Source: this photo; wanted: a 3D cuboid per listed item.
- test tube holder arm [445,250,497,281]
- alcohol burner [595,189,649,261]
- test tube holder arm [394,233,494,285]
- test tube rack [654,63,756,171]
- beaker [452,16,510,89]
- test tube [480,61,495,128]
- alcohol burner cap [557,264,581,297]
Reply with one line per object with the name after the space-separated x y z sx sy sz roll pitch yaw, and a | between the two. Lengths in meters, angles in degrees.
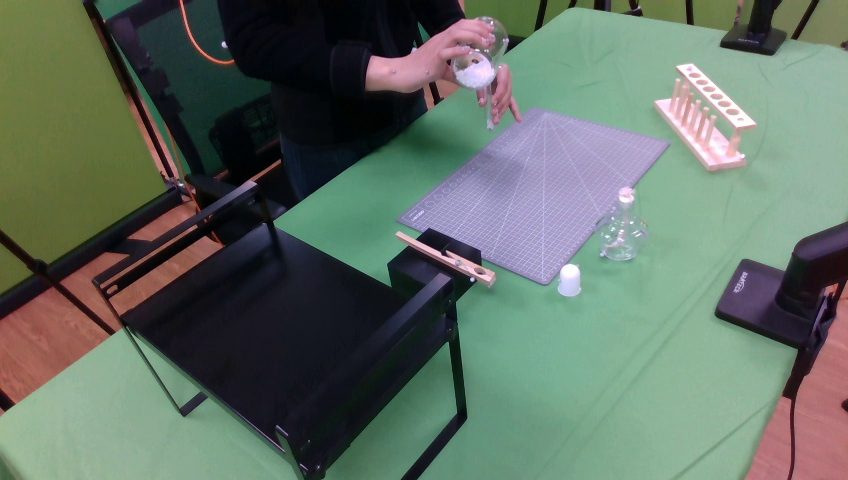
0.063 0.036 0.851 0.087 0.015 0.010 24 58 32 | test tube holder arm
0.294 -0.028 0.894 0.078 0.119 0.077 -4 43 5 | alcohol burner
0.025 0.025 0.871 0.177 0.015 0.013 23 57 31 | test tube holder arm
0.510 -0.233 1.120 0.067 0.085 0.241 -8 41 -1 | test tube rack
0.085 -0.281 0.922 0.074 0.084 0.100 9 45 13 | beaker
0.110 -0.246 1.042 0.017 0.151 0.017 -4 58 8 | test tube
0.209 0.055 0.866 0.034 0.048 0.033 -4 42 4 | alcohol burner cap
